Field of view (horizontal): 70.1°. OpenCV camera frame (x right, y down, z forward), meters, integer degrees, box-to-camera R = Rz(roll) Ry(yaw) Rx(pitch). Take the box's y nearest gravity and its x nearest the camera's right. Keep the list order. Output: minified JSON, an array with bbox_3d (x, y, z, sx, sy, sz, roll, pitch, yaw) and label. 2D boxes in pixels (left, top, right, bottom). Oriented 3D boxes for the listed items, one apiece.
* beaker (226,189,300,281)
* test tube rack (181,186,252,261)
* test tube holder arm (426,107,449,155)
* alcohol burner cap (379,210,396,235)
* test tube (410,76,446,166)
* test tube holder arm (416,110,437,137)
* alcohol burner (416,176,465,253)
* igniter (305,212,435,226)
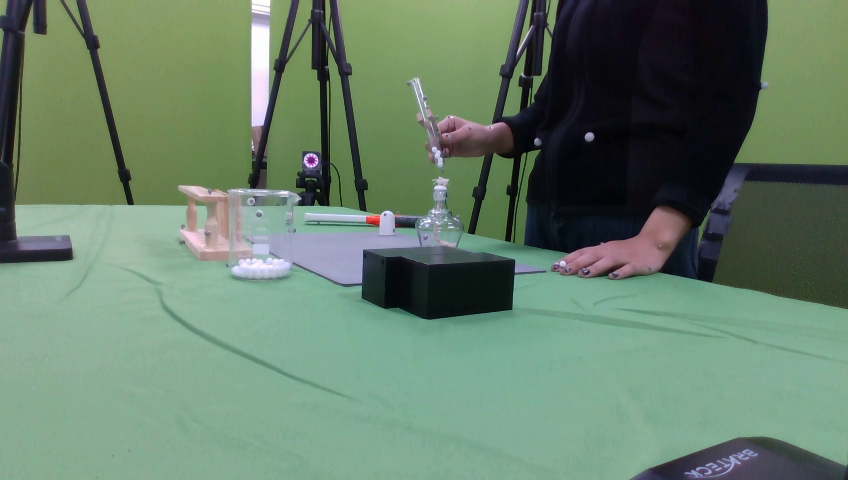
[{"bbox_3d":[-0.184,-0.007,0.694,0.084,0.100,0.073,-1,8,-29],"label":"beaker"},{"bbox_3d":[-0.312,-0.031,0.893,0.067,0.085,0.241,-1,8,-27],"label":"test tube rack"},{"bbox_3d":[0.024,-0.178,1.005,0.013,0.015,0.179,-19,-15,8],"label":"test tube holder arm"},{"bbox_3d":[-0.067,-0.033,1.129,0.034,0.048,0.034,1,7,0],"label":"alcohol burner cap"},{"bbox_3d":[0.007,-0.185,0.940,0.017,0.150,0.017,-16,-10,-3],"label":"test tube"},{"bbox_3d":[0.008,-0.184,0.963,0.010,0.015,0.088,-21,-15,16],"label":"test tube holder arm"},{"bbox_3d":[0.025,-0.040,0.935,0.078,0.119,0.078,1,6,0],"label":"alcohol burner"},{"bbox_3d":[-0.114,-0.046,1.296,0.277,0.025,0.057,1,-2,-11],"label":"igniter"}]
